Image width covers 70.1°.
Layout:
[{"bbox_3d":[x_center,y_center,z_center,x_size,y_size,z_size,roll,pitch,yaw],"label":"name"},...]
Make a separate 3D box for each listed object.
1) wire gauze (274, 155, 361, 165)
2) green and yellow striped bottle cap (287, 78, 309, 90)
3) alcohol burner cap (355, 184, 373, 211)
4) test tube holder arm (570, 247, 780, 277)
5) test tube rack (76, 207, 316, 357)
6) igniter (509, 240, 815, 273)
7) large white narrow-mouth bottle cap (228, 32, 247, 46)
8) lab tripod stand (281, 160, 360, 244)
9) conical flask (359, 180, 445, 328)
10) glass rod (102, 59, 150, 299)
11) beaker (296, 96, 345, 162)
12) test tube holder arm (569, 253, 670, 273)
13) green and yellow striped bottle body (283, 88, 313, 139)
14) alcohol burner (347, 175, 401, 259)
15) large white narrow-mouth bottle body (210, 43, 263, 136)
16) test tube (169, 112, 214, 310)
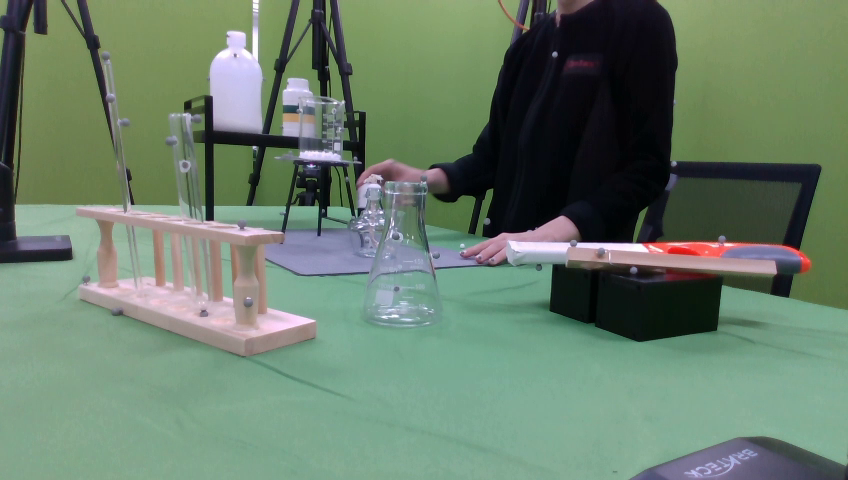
[{"bbox_3d":[-0.174,-0.129,0.978,0.125,0.011,0.121,-2,6,-19],"label":"wire gauze"},{"bbox_3d":[-0.265,-0.326,1.268,0.045,0.020,0.045,4,6,0],"label":"green and yellow striped bottle cap"},{"bbox_3d":[-0.108,-0.076,1.078,0.034,0.048,0.034,0,3,0],"label":"alcohol burner cap"},{"bbox_3d":[0.217,0.019,0.525,0.178,0.015,0.013,3,-23,3],"label":"test tube holder arm"},{"bbox_3d":[-0.196,0.023,0.500,0.241,0.085,0.067,8,9,36],"label":"test tube rack"},{"bbox_3d":[0.220,0.015,0.566,0.277,0.025,0.057,2,16,0],"label":"igniter"},{"bbox_3d":[-0.364,-0.391,1.180,0.038,0.024,0.037,3,8,0],"label":"large white narrow-mouth bottle cap"},{"bbox_3d":[-0.170,-0.063,0.983,0.148,0.131,0.148,1,6,0],"label":"lab tripod stand"},{"bbox_3d":[-0.017,0.010,0.522,0.075,0.122,0.075,2,7,0],"label":"conical flask"},{"bbox_3d":[-0.244,-0.045,0.496,0.008,0.199,0.008,-3,13,1],"label":"glass rod"},{"bbox_3d":[-0.163,-0.175,0.966,0.083,0.100,0.074,8,8,34],"label":"beaker"},{"bbox_3d":[0.172,0.019,0.532,0.088,0.015,0.010,3,-23,3],"label":"test tube holder arm"},{"bbox_3d":[-0.266,-0.275,1.275,0.063,0.119,0.063,3,7,0],"label":"green and yellow striped bottle body"},{"bbox_3d":[-0.071,-0.034,0.867,0.078,0.119,0.078,0,7,0],"label":"alcohol burner"},{"bbox_3d":[-0.369,-0.305,1.194,0.102,0.194,0.102,3,8,0],"label":"large white narrow-mouth bottle body"},{"bbox_3d":[-0.175,-0.020,0.455,0.017,0.150,0.017,-3,9,1],"label":"test tube"}]
